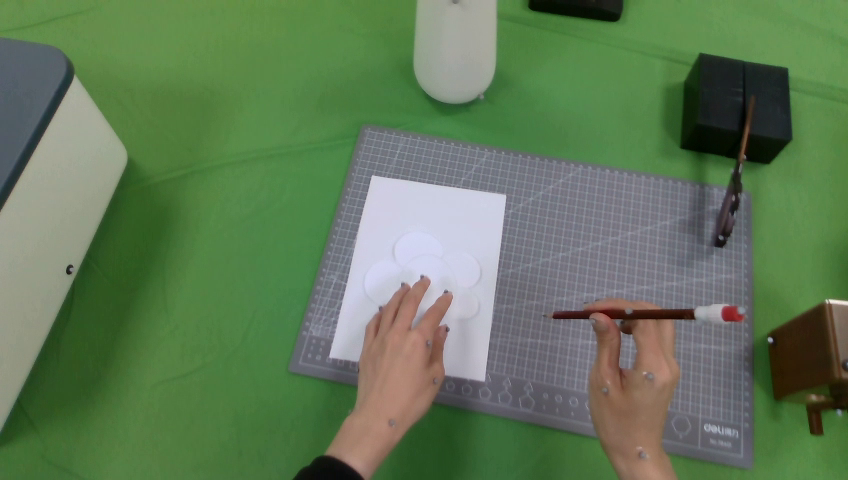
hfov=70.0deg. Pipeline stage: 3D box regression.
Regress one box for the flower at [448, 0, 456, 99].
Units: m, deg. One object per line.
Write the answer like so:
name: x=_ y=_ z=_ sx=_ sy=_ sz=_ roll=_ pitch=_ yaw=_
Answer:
flower: x=0.028 y=-0.291 z=0.585 sx=0.044 sy=0.365 sz=0.038 roll=4 pitch=48 yaw=6

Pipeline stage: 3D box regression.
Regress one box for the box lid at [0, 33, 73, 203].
box lid: x=-0.482 y=-0.040 z=0.501 sx=0.263 sy=0.015 sz=0.369 roll=11 pitch=66 yaw=4

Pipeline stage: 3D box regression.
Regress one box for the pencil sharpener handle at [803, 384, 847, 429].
pencil sharpener handle: x=0.358 y=0.145 z=0.524 sx=0.036 sy=0.068 sz=0.030 roll=12 pitch=66 yaw=-10

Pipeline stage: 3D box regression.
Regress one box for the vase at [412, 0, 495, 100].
vase: x=0.033 y=-0.244 z=0.655 sx=0.098 sy=0.201 sz=0.097 roll=0 pitch=65 yaw=1

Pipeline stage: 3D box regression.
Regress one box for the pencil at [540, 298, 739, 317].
pencil: x=0.142 y=0.050 z=0.440 sx=0.012 sy=0.193 sz=0.012 roll=3 pitch=83 yaw=-25

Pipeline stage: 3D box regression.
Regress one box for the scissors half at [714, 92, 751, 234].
scissors half: x=0.327 y=-0.085 z=0.633 sx=0.013 sy=0.040 sz=0.174 roll=16 pitch=67 yaw=16

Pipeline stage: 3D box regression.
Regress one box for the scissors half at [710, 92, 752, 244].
scissors half: x=0.333 y=-0.079 z=0.651 sx=0.012 sy=0.040 sz=0.175 roll=15 pitch=85 yaw=21

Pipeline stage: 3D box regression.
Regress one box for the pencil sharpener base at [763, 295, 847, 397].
pencil sharpener base: x=0.368 y=0.104 z=0.555 sx=0.061 sy=0.108 sz=0.076 roll=7 pitch=67 yaw=3

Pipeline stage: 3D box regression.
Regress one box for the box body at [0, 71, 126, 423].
box body: x=-0.482 y=-0.007 z=0.569 sx=0.254 sy=0.161 sz=0.361 roll=11 pitch=67 yaw=5
